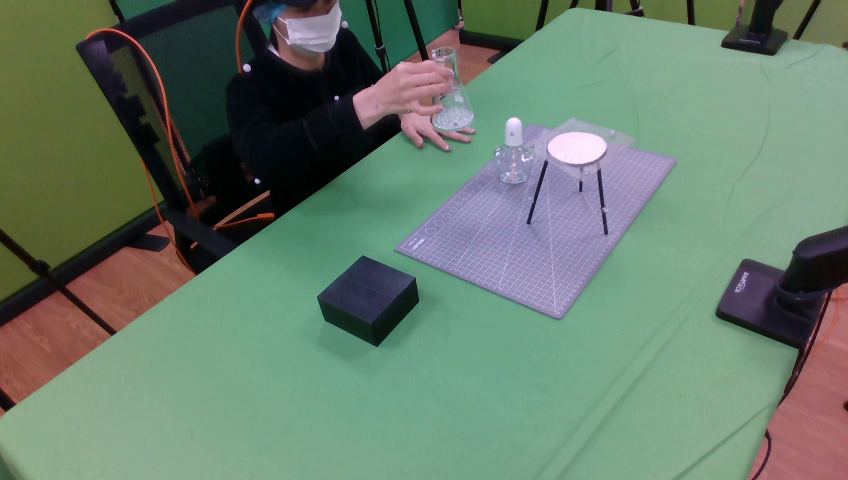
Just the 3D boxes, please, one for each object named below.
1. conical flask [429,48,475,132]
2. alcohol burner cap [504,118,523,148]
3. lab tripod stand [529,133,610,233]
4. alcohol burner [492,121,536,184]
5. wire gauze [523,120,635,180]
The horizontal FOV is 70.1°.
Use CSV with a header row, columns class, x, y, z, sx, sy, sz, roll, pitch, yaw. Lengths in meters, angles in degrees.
class,x,y,z,sx,sy,sz,roll,pitch,yaw
conical flask,0.039,-0.239,0.955,0.075,0.122,0.075,-6,41,6
alcohol burner cap,0.154,-0.186,1.042,0.034,0.048,0.033,-4,33,3
lab tripod stand,0.236,-0.089,0.953,0.148,0.132,0.147,-5,42,5
alcohol burner,0.159,-0.158,1.064,0.078,0.119,0.077,-3,41,3
wire gauze,0.233,-0.143,0.913,0.122,0.011,0.124,-32,45,-25
